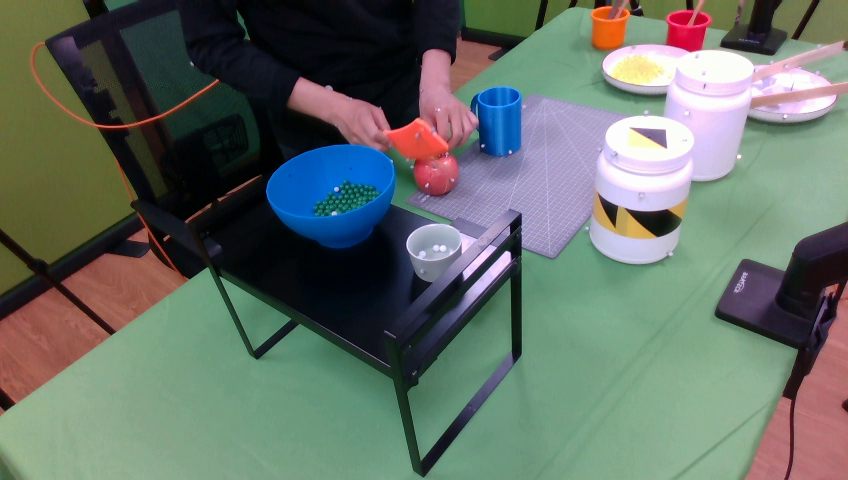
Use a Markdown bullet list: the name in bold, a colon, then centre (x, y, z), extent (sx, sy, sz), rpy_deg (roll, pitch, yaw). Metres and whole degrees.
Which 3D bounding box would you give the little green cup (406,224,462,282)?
- **little green cup**: centre (0.012, 0.015, 0.668), extent (0.061, 0.039, 0.061), rpy_deg (-4, 40, 4)

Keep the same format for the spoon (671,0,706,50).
- **spoon**: centre (0.628, -0.520, 1.394), extent (0.041, 0.022, 0.193), rpy_deg (30, 96, 34)

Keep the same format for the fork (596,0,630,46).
- **fork**: centre (0.481, -0.556, 1.452), extent (0.028, 0.019, 0.207), rpy_deg (40, 103, 40)

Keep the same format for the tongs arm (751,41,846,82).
- **tongs arm**: centre (0.708, -0.331, 1.194), extent (0.386, 0.026, 0.050), rpy_deg (-18, 45, -16)

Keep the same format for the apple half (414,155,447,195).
- **apple half**: centre (0.004, -0.110, 1.060), extent (0.033, 0.081, 0.080), rpy_deg (-32, 46, -33)

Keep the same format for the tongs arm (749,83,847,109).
- **tongs arm**: centre (0.734, -0.281, 1.133), extent (0.388, 0.028, 0.028), rpy_deg (-9, 46, -5)

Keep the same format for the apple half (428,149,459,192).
- **apple half**: centre (0.033, -0.129, 1.081), extent (0.053, 0.075, 0.080), rpy_deg (-32, 42, -32)

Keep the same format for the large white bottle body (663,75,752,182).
- **large white bottle body**: centre (0.472, -0.207, 1.022), extent (0.130, 0.185, 0.130), rpy_deg (-4, 41, 4)

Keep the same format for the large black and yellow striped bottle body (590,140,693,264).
- **large black and yellow striped bottle body**: centre (0.317, -0.071, 0.889), extent (0.131, 0.185, 0.130), rpy_deg (-4, 41, 4)

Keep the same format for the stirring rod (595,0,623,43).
- **stirring rod**: centre (0.460, -0.556, 1.460), extent (0.014, 0.006, 0.176), rpy_deg (30, 94, 23)

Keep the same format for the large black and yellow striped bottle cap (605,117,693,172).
- **large black and yellow striped bottle cap**: centre (0.309, -0.134, 0.833), extent (0.115, 0.019, 0.114), rpy_deg (-5, 40, 5)

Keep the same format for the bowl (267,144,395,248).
- **bowl**: centre (-0.104, -0.043, 0.726), extent (0.151, 0.077, 0.150), rpy_deg (-4, 40, 4)

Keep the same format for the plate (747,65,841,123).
- **plate**: centre (0.694, -0.283, 1.189), extent (0.207, 0.039, 0.206), rpy_deg (-4, 40, 4)

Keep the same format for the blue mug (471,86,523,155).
- **blue mug**: centre (0.135, -0.235, 1.163), extent (0.082, 0.106, 0.115), rpy_deg (-36, 48, -28)

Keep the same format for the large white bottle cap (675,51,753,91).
- **large white bottle cap**: centre (0.463, -0.271, 0.967), extent (0.115, 0.018, 0.114), rpy_deg (-4, 40, 4)

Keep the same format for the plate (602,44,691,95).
- **plate**: centre (0.495, -0.367, 1.317), extent (0.209, 0.038, 0.208), rpy_deg (-4, 40, 4)

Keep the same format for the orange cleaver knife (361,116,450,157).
- **orange cleaver knife**: centre (-0.034, -0.167, 1.007), extent (0.209, 0.078, 0.012), rpy_deg (5, 54, 54)
